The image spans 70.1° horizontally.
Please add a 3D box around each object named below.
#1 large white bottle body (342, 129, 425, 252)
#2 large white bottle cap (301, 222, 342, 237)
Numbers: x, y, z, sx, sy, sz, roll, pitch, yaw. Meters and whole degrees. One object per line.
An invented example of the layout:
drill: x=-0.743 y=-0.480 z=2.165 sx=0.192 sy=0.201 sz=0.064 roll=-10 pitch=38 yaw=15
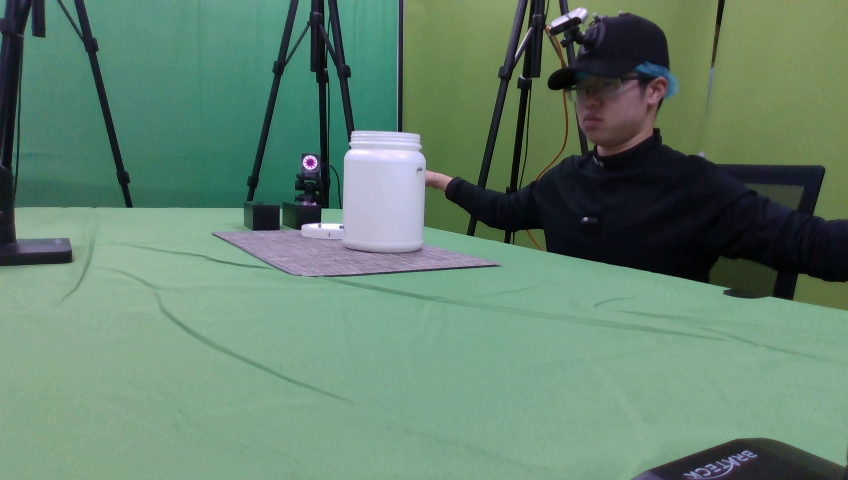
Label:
large white bottle body: x=-0.064 y=-0.080 z=0.958 sx=0.131 sy=0.184 sz=0.130 roll=2 pitch=8 yaw=0
large white bottle cap: x=-0.167 y=-0.019 z=1.103 sx=0.115 sy=0.018 sz=0.115 roll=2 pitch=7 yaw=0
